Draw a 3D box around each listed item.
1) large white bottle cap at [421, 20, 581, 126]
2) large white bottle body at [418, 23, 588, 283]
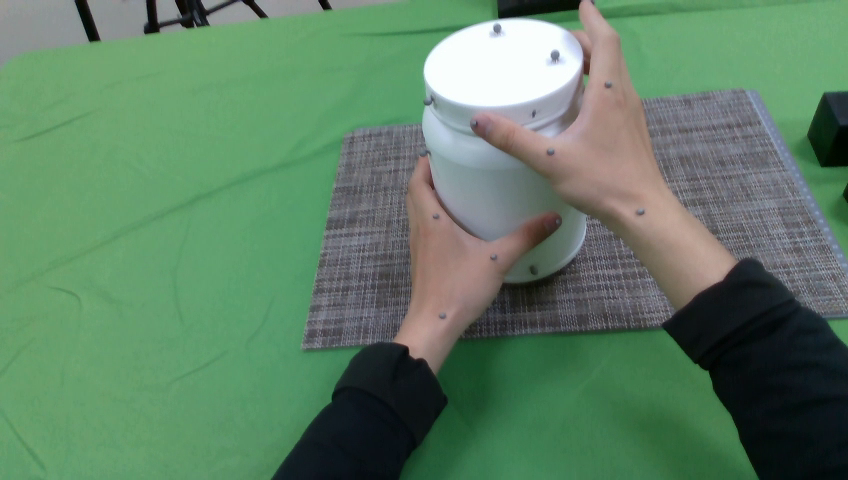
[{"bbox_3d":[0.055,-0.123,0.438,0.115,0.018,0.113,-5,47,6],"label":"large white bottle cap"},{"bbox_3d":[0.067,-0.067,0.500,0.130,0.186,0.129,-6,47,7],"label":"large white bottle body"}]
